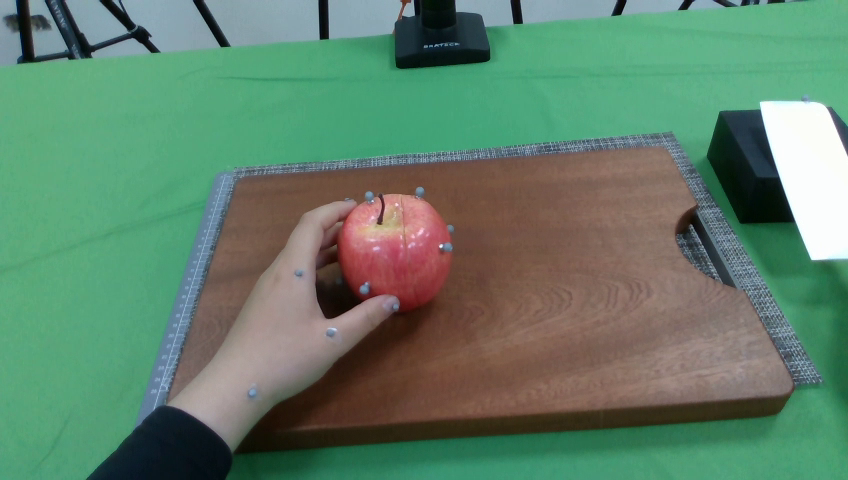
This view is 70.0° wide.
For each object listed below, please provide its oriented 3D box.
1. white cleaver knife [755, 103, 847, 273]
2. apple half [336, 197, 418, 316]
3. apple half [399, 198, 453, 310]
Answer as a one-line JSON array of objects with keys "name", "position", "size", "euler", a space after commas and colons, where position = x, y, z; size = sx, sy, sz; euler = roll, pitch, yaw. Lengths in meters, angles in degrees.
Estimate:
[{"name": "white cleaver knife", "position": [0.317, 0.000, 0.459], "size": [0.066, 0.022, 0.283], "euler": [-9, 54, 15]}, {"name": "apple half", "position": [-0.034, 0.015, 0.429], "size": [0.053, 0.075, 0.080], "euler": [-10, 46, 2]}, {"name": "apple half", "position": [0.004, 0.009, 0.430], "size": [0.033, 0.082, 0.080], "euler": [-10, 43, 1]}]
